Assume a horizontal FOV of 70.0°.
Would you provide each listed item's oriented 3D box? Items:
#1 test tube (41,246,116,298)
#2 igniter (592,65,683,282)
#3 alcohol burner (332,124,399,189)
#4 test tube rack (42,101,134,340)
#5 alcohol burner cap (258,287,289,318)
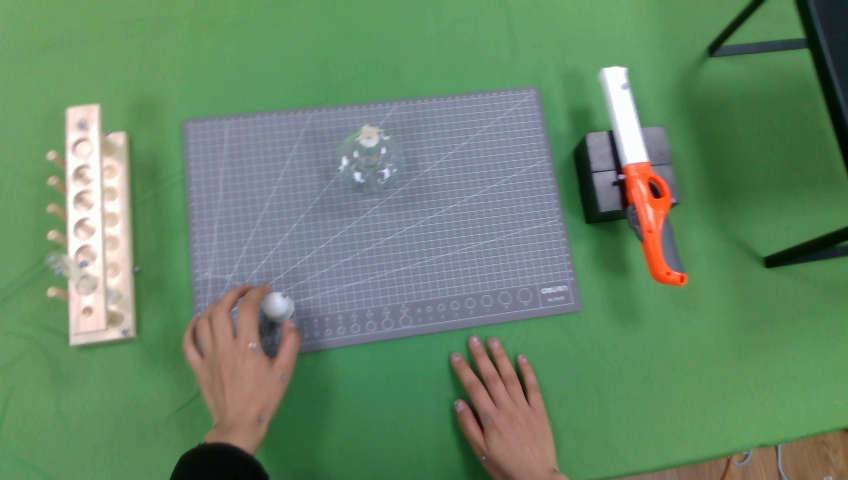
[{"bbox_3d":[-0.337,0.035,0.600,0.017,0.151,0.017,2,72,-7],"label":"test tube"},{"bbox_3d":[0.249,-0.082,0.716,0.057,0.025,0.275,-9,75,-10],"label":"igniter"},{"bbox_3d":[-0.068,-0.102,0.691,0.078,0.119,0.077,1,78,-3],"label":"alcohol burner"},{"bbox_3d":[-0.371,-0.019,0.659,0.067,0.085,0.241,-7,78,-7],"label":"test tube rack"},{"bbox_3d":[-0.170,0.068,0.678,0.034,0.048,0.033,2,75,-8],"label":"alcohol burner cap"}]
